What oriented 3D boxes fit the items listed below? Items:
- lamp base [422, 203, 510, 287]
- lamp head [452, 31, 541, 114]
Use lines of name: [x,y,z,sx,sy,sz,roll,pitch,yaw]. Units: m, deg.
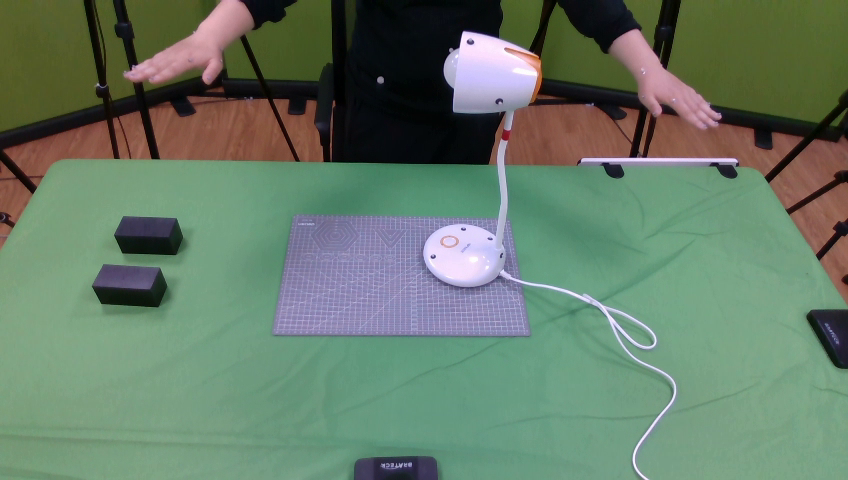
lamp base: [0.092,-0.021,1.111,0.179,0.181,0.160,23,49,14]
lamp head: [0.102,-0.228,0.858,0.123,0.113,0.112,11,46,0]
